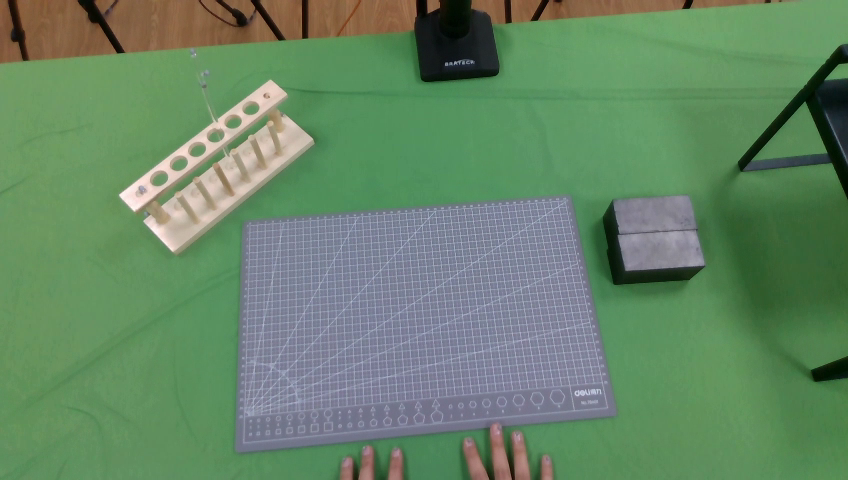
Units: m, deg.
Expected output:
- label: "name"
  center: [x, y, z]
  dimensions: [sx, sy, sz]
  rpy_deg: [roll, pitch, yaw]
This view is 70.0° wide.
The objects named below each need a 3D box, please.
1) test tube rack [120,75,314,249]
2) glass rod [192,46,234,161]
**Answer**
- label: "test tube rack"
  center: [-0.265, -0.104, 0.802]
  dimensions: [0.066, 0.086, 0.242]
  rpy_deg: [42, 73, 16]
- label: "glass rod"
  center: [-0.260, -0.162, 0.756]
  dimensions: [0.008, 0.201, 0.008]
  rpy_deg: [2, 59, -3]
